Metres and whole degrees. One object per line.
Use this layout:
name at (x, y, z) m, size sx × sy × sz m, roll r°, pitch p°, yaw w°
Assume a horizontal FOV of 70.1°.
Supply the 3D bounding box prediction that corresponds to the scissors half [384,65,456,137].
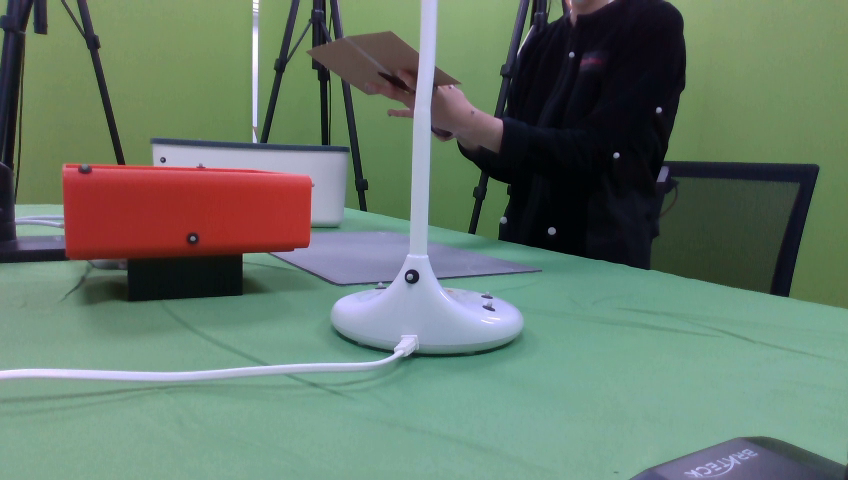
scissors half at (-0.008, -0.226, 0.971) m, size 0.176 × 0.040 × 0.012 m, roll 42°, pitch -17°, yaw -32°

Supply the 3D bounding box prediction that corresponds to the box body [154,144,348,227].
box body at (-0.357, -0.119, 1.264) m, size 0.365 × 0.160 × 0.253 m, roll 0°, pitch 7°, yaw -18°

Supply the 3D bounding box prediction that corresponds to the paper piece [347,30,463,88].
paper piece at (-0.029, -0.256, 0.867) m, size 0.139 × 0.008 × 0.135 m, roll 29°, pitch -2°, yaw -35°

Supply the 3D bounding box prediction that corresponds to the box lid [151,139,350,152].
box lid at (-0.352, -0.191, 1.255) m, size 0.373 × 0.015 × 0.262 m, roll 0°, pitch 8°, yaw -18°

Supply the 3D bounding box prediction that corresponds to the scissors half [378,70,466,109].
scissors half at (-0.001, -0.247, 0.974) m, size 0.176 × 0.040 × 0.013 m, roll 6°, pitch -1°, yaw -37°

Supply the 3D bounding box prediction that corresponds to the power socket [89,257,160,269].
power socket at (-0.409, 0.004, 0.793) m, size 0.072 × 0.032 × 0.225 m, roll -2°, pitch 8°, yaw -38°

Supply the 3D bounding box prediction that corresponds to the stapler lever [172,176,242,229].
stapler lever at (-0.218, -0.041, 0.618) m, size 0.027 × 0.040 × 0.118 m, roll 18°, pitch 11°, yaw -2°

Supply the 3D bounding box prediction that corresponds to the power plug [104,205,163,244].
power plug at (-0.390, -0.021, 0.815) m, size 0.073 × 0.052 × 0.035 m, roll -1°, pitch 7°, yaw -28°

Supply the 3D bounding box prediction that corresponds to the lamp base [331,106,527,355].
lamp base at (0.006, -0.012, 0.478) m, size 0.161 × 0.180 × 0.179 m, roll 2°, pitch 10°, yaw 2°

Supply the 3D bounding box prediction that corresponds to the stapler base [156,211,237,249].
stapler base at (-0.227, -0.017, 0.624) m, size 0.041 × 0.024 × 0.130 m, roll 18°, pitch 10°, yaw -2°

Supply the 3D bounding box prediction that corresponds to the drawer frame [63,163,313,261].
drawer frame at (-0.248, -0.036, 0.626) m, size 0.215 × 0.082 × 0.200 m, roll -3°, pitch 9°, yaw -31°

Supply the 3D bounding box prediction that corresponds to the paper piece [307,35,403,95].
paper piece at (-0.105, -0.277, 0.973) m, size 0.136 × 0.004 × 0.134 m, roll 30°, pitch -12°, yaw -35°

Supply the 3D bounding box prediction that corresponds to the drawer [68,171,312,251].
drawer at (-0.247, -0.036, 0.629) m, size 0.213 × 0.073 × 0.193 m, roll -3°, pitch 9°, yaw -30°
